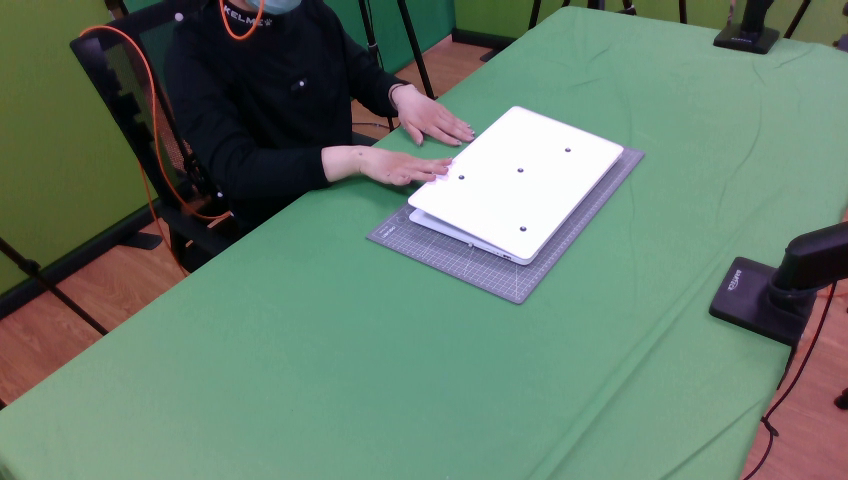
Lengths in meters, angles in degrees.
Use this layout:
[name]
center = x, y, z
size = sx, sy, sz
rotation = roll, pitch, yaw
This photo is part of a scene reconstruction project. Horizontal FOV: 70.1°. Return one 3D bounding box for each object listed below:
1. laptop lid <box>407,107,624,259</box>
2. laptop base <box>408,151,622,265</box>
[laptop lid]
center = 0.165, -0.117, 1.038
size = 0.240, 0.013, 0.358
rotation = 28, 52, 26
[laptop base]
center = 0.168, -0.095, 1.057
size = 0.233, 0.023, 0.355
rotation = 20, 47, 32
